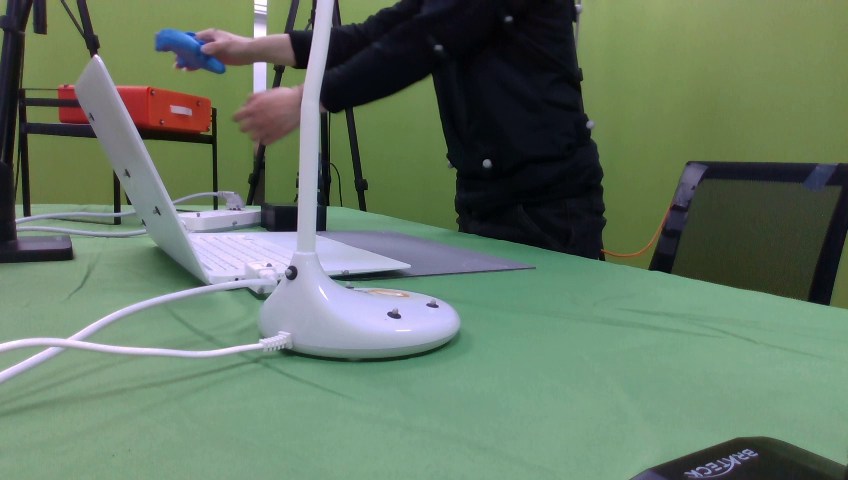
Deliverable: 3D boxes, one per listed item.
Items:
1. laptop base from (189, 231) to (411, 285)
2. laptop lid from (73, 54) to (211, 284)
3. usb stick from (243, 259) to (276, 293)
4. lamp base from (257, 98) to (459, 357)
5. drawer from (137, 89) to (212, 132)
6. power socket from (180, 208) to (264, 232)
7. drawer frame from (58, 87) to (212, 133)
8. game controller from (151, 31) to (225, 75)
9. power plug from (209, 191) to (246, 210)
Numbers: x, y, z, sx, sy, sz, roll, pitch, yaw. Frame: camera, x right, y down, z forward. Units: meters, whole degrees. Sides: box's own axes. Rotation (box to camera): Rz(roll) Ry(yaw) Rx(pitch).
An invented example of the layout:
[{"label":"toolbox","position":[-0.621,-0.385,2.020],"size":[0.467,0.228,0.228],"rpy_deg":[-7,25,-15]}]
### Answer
[{"label":"laptop base","position":[-0.204,0.019,0.807],"size":[0.237,0.023,0.352],"rpy_deg":[0,7,-33]},{"label":"laptop lid","position":[-0.341,-0.079,0.704],"size":[0.013,0.242,0.355],"rpy_deg":[-30,23,-26]},{"label":"usb stick","position":[-0.166,0.035,0.604],"size":[0.021,0.027,0.059],"rpy_deg":[-8,8,-28]},{"label":"lamp base","position":[-0.055,-0.014,0.463],"size":[0.160,0.180,0.180],"rpy_deg":[6,11,27]},{"label":"drawer","position":[-0.588,-0.267,1.260],"size":[0.211,0.073,0.195],"rpy_deg":[3,8,14]},{"label":"power socket","position":[-0.381,-0.038,1.128],"size":[0.072,0.032,0.227],"rpy_deg":[4,8,16]},{"label":"drawer frame","position":[-0.593,-0.269,1.260],"size":[0.213,0.082,0.202],"rpy_deg":[4,8,14]},{"label":"game controller","position":[-0.471,-0.376,1.208],"size":[0.097,0.051,0.155],"rpy_deg":[0,-4,4]},{"label":"power plug","position":[-0.388,-0.071,1.204],"size":[0.072,0.052,0.035],"rpy_deg":[4,8,26]}]
